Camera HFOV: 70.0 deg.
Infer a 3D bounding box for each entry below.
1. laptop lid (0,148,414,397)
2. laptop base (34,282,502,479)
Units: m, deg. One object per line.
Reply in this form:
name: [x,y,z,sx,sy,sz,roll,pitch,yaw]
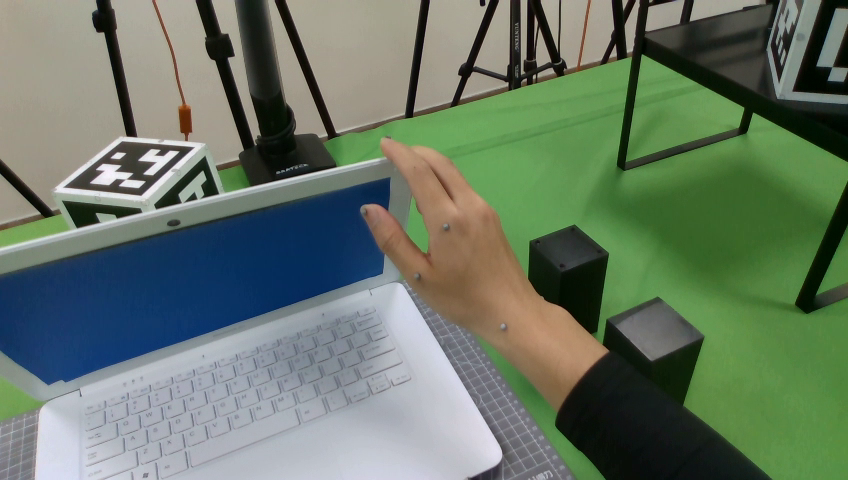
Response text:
laptop lid: [-0.179,0.037,0.500,0.357,0.243,0.013,-18,65,-14]
laptop base: [-0.140,0.166,0.518,0.355,0.023,0.232,-18,43,-16]
